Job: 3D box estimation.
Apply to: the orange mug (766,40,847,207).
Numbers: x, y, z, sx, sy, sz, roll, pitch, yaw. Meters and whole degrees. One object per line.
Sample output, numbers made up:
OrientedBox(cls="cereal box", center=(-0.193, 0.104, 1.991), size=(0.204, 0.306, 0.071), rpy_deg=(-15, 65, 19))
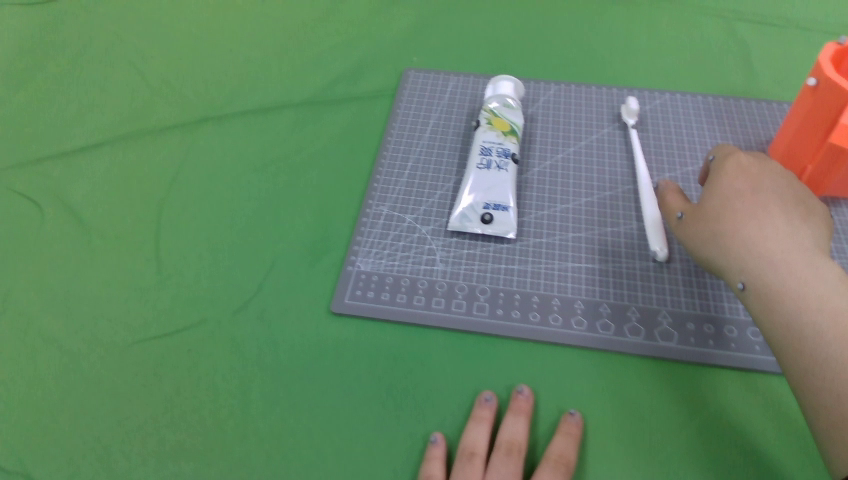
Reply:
OrientedBox(cls="orange mug", center=(0.332, -0.086, 0.481), size=(0.083, 0.102, 0.126), rpy_deg=(30, 53, 23))

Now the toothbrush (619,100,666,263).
OrientedBox(cls="toothbrush", center=(0.184, -0.056, 0.510), size=(0.014, 0.017, 0.180), rpy_deg=(10, 52, -7))

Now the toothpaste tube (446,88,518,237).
OrientedBox(cls="toothpaste tube", center=(0.056, -0.072, 0.516), size=(0.055, 0.035, 0.163), rpy_deg=(4, 55, 10))

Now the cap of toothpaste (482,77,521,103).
OrientedBox(cls="cap of toothpaste", center=(0.071, -0.134, 0.559), size=(0.037, 0.037, 0.011), rpy_deg=(10, 58, 8))
